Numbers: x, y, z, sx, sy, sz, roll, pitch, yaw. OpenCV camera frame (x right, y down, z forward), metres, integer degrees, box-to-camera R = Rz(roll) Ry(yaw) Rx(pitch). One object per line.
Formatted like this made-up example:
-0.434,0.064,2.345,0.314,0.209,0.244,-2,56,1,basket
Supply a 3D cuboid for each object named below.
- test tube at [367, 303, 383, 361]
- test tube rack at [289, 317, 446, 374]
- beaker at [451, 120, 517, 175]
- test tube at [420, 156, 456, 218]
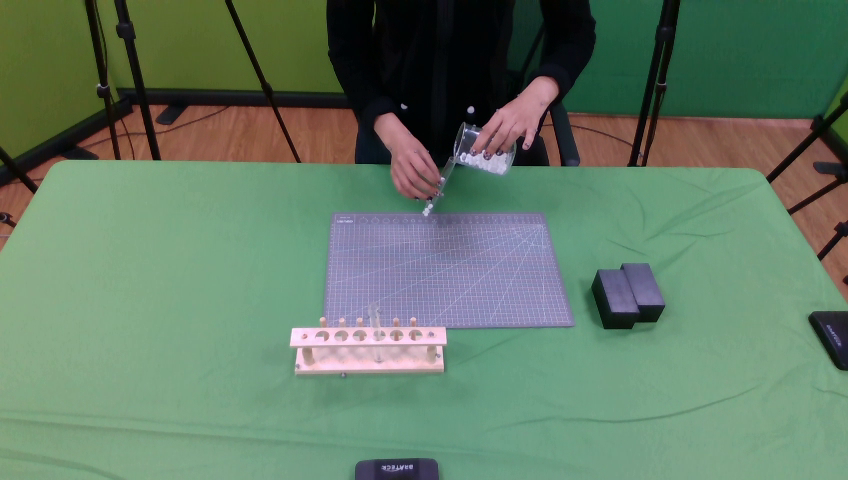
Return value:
-0.075,0.146,0.941,0.017,0.151,0.017,0,49,0,test tube
-0.089,0.167,0.987,0.242,0.085,0.066,0,46,-4,test tube rack
0.104,-0.157,1.066,0.100,0.084,0.073,16,53,-7,beaker
0.025,-0.096,1.136,0.017,0.151,0.017,16,41,-14,test tube
